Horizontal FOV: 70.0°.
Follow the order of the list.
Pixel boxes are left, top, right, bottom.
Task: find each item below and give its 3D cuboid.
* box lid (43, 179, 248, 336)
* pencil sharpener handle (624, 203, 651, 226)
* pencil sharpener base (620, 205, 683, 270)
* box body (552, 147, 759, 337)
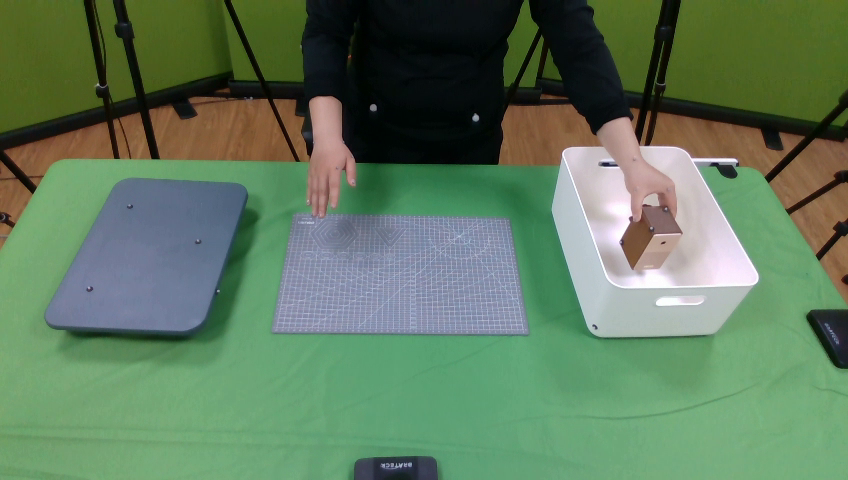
[{"bbox_3d":[-0.484,0.017,1.093,0.263,0.015,0.369,2,46,-2],"label":"box lid"},{"bbox_3d":[0.404,-0.052,1.140,0.036,0.068,0.030,13,44,-27],"label":"pencil sharpener handle"},{"bbox_3d":[0.416,-0.006,1.119,0.061,0.107,0.076,-3,49,-11],"label":"pencil sharpener base"},{"bbox_3d":[0.401,-0.001,1.131,0.254,0.161,0.361,-1,46,-5],"label":"box body"}]
